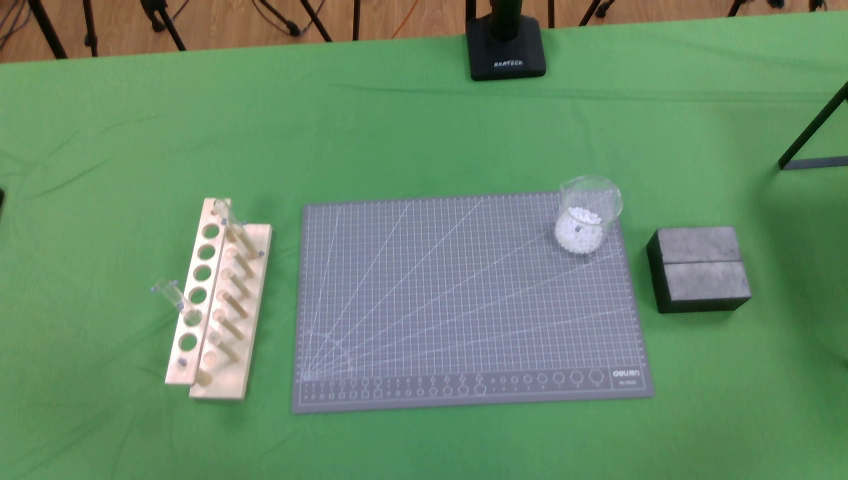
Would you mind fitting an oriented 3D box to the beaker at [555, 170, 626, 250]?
[{"bbox_3d":[0.212,-0.037,0.800,0.083,0.101,0.074,32,70,17],"label":"beaker"}]

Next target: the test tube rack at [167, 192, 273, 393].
[{"bbox_3d":[-0.255,0.065,0.777,0.067,0.086,0.240,1,66,3],"label":"test tube rack"}]

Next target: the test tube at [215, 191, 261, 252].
[{"bbox_3d":[-0.234,-0.020,0.765,0.017,0.151,0.017,0,65,1],"label":"test tube"}]

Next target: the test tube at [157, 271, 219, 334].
[{"bbox_3d":[-0.276,0.078,0.717,0.017,0.151,0.017,-2,59,4],"label":"test tube"}]
